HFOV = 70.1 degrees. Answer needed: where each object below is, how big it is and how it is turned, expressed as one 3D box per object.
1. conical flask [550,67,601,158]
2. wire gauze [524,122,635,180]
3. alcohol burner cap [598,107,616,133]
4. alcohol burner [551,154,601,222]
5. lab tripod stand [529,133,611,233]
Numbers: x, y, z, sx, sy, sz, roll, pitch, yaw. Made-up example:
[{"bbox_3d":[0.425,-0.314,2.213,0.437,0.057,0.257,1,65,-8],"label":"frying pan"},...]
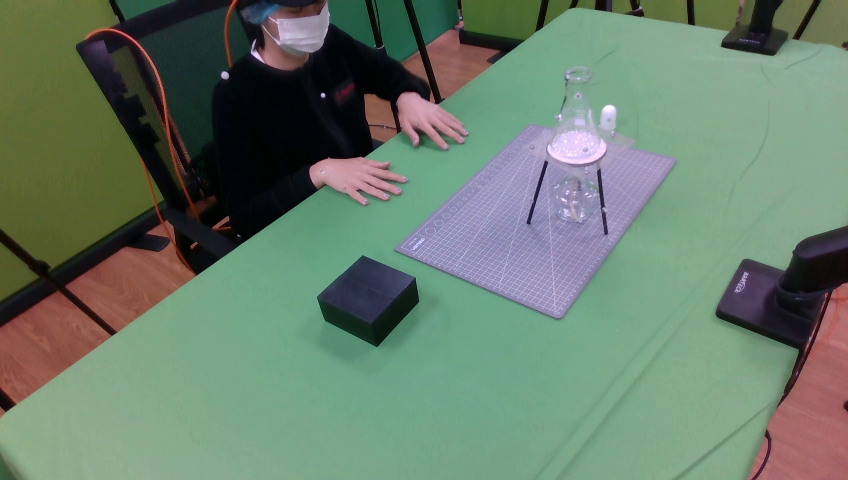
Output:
[{"bbox_3d":[0.221,-0.186,0.875,0.075,0.122,0.075,-5,40,5],"label":"conical flask"},{"bbox_3d":[0.233,-0.142,0.913,0.122,0.011,0.124,-31,43,-26],"label":"wire gauze"},{"bbox_3d":[0.361,-0.239,1.189,0.034,0.048,0.033,-4,40,4],"label":"alcohol burner cap"},{"bbox_3d":[0.244,-0.088,0.966,0.078,0.119,0.077,-3,40,3],"label":"alcohol burner"},{"bbox_3d":[0.236,-0.089,0.953,0.148,0.132,0.147,-5,41,5],"label":"lab tripod stand"}]
